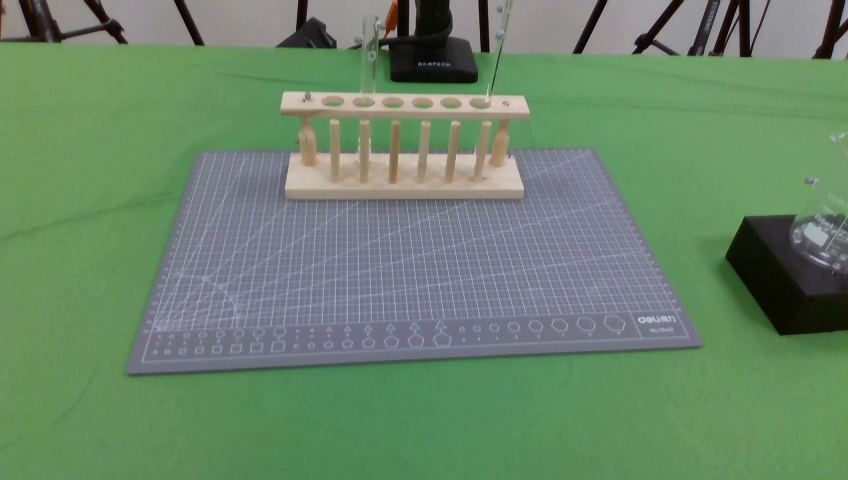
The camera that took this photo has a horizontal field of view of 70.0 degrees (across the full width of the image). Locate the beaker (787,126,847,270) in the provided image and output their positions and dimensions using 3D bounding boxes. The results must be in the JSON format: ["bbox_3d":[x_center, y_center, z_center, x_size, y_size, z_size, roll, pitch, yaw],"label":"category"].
[{"bbox_3d":[0.349,-0.033,0.492,0.074,0.101,0.083,-24,48,-28],"label":"beaker"}]

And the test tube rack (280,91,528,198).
[{"bbox_3d":[-0.019,-0.096,0.615,0.243,0.086,0.066,-1,42,-6],"label":"test tube rack"}]

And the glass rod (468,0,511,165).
[{"bbox_3d":[0.062,-0.154,0.585,0.008,0.201,0.008,6,43,-5],"label":"glass rod"}]

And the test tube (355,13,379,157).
[{"bbox_3d":[-0.057,-0.145,0.592,0.017,0.151,0.017,6,40,-4],"label":"test tube"}]
